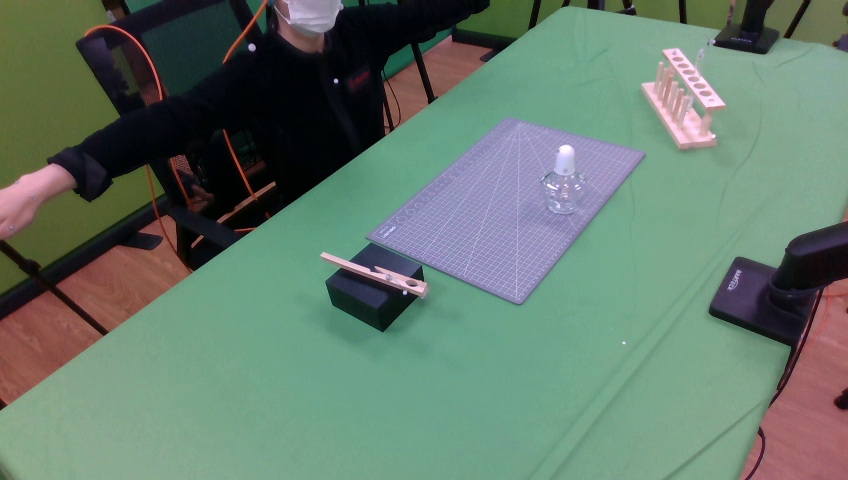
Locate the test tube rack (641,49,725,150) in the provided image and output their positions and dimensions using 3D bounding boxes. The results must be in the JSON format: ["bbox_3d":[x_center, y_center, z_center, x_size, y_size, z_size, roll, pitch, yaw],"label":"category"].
[{"bbox_3d":[0.495,-0.279,1.175,0.067,0.085,0.241,-5,41,3],"label":"test tube rack"}]

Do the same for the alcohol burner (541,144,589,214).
[{"bbox_3d":[0.229,-0.102,0.983,0.078,0.119,0.077,-6,41,5],"label":"alcohol burner"}]

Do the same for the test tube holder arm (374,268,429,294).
[{"bbox_3d":[-0.034,0.056,0.840,0.087,0.015,0.010,14,49,25],"label":"test tube holder arm"}]

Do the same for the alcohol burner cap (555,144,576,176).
[{"bbox_3d":[0.225,-0.129,0.958,0.034,0.048,0.033,-4,43,4],"label":"alcohol burner cap"}]

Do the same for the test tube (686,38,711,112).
[{"bbox_3d":[0.508,-0.305,1.128,0.017,0.151,0.017,-2,46,3],"label":"test tube"}]

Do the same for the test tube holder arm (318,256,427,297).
[{"bbox_3d":[-0.076,0.050,0.855,0.177,0.015,0.013,13,49,24],"label":"test tube holder arm"}]
